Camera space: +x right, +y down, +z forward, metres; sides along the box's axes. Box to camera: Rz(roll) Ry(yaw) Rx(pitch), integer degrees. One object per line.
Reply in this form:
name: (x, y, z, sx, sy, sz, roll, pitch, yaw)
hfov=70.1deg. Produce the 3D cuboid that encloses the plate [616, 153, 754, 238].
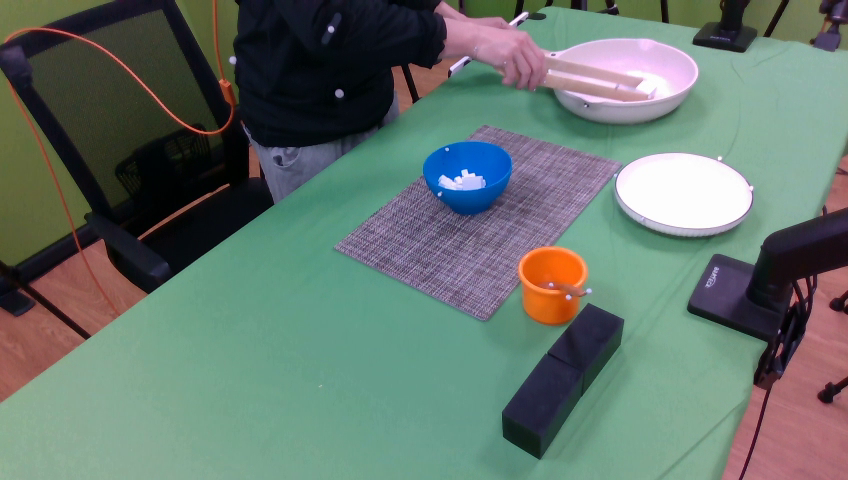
plate: (0.416, -0.069, 0.977, 0.207, 0.039, 0.206, -4, 40, 4)

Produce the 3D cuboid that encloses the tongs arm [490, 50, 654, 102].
tongs arm: (0.285, -0.293, 1.109, 0.388, 0.026, 0.050, -1, 52, -34)

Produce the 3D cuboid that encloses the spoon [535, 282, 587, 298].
spoon: (0.176, 0.063, 0.774, 0.041, 0.194, 0.021, -3, 85, 1)

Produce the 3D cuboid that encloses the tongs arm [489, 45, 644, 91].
tongs arm: (0.276, -0.314, 1.125, 0.391, 0.027, 0.028, 2, 53, -32)

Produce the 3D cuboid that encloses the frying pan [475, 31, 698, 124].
frying pan: (0.320, -0.371, 1.290, 0.485, 0.103, 0.307, 28, 50, 23)

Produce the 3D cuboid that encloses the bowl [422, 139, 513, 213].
bowl: (0.076, -0.098, 1.021, 0.151, 0.077, 0.150, -4, 41, 4)
